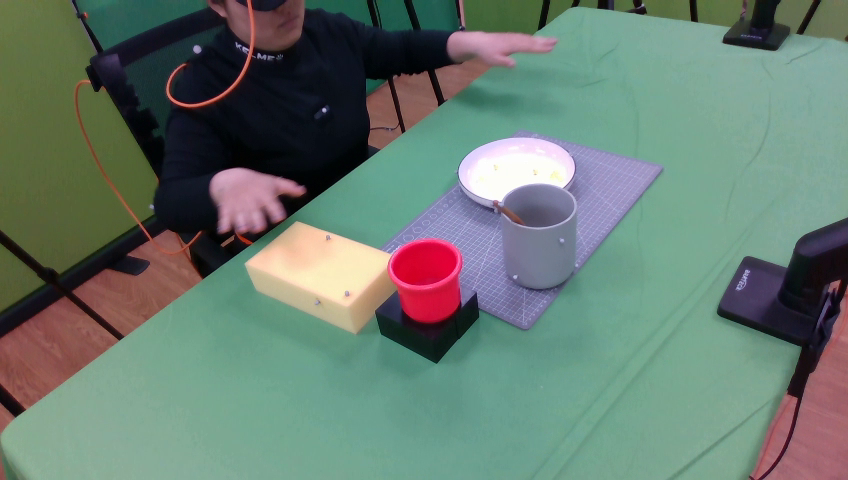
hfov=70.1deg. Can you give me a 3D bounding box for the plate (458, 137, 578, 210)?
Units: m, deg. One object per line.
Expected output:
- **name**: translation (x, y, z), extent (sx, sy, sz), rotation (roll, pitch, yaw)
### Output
- **plate**: translation (0.165, -0.113, 1.068), extent (0.207, 0.039, 0.206), rotation (-5, 40, 5)

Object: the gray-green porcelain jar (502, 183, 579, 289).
- **gray-green porcelain jar**: translation (0.166, -0.001, 0.866), extent (0.106, 0.127, 0.105), rotation (-5, 40, 5)

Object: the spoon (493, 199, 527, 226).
- **spoon**: translation (0.135, -0.016, 0.831), extent (0.021, 0.195, 0.041), rotation (-49, 53, -1)

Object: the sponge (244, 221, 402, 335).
- **sponge**: translation (-0.153, 0.052, 0.919), extent (0.205, 0.061, 0.118), rotation (18, 47, 28)
